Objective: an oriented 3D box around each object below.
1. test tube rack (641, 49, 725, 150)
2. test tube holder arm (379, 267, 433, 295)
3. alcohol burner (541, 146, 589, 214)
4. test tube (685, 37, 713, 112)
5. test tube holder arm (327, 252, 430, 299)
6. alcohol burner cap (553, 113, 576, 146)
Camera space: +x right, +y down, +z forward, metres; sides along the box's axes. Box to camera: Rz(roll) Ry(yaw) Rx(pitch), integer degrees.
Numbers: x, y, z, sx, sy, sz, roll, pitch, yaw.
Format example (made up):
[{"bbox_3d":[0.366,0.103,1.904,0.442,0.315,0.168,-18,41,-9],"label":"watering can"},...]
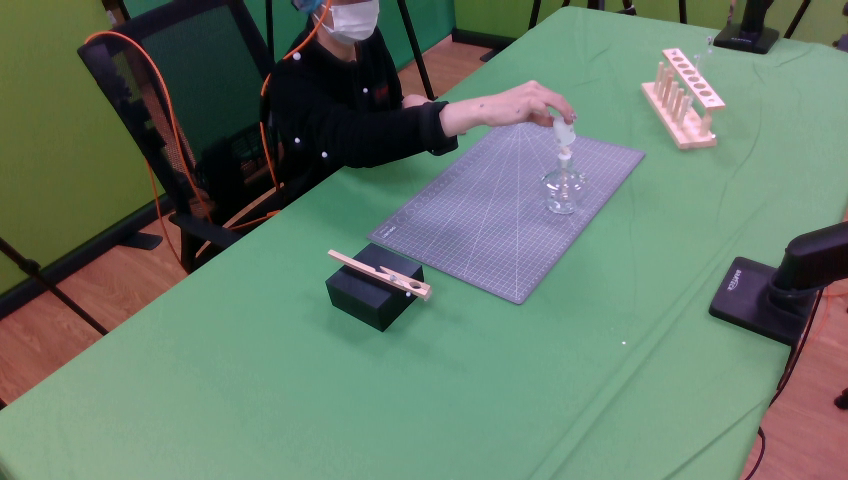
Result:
[{"bbox_3d":[0.495,-0.279,1.175,0.067,0.085,0.241,-5,41,3],"label":"test tube rack"},{"bbox_3d":[-0.027,0.057,0.837,0.087,0.015,0.010,18,54,28],"label":"test tube holder arm"},{"bbox_3d":[0.229,-0.102,0.983,0.078,0.119,0.077,-6,41,5],"label":"alcohol burner"},{"bbox_3d":[0.509,-0.306,1.128,0.017,0.151,0.017,-1,45,1],"label":"test tube"},{"bbox_3d":[-0.068,0.049,0.855,0.177,0.015,0.013,18,54,27],"label":"test tube holder arm"},{"bbox_3d":[0.211,-0.169,0.915,0.034,0.048,0.033,-11,49,13],"label":"alcohol burner cap"}]
